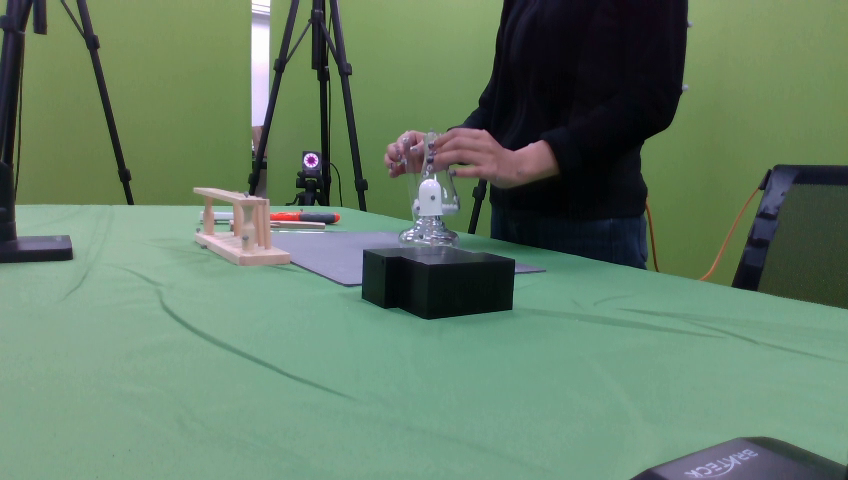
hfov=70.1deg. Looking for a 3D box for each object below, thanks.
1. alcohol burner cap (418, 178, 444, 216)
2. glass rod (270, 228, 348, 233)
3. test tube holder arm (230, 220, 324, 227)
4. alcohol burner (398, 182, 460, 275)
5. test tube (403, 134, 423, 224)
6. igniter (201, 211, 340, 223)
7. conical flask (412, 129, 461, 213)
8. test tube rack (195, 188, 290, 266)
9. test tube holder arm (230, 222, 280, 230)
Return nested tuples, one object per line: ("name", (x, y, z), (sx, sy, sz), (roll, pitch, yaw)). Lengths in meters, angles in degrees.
("alcohol burner cap", (0.007, -0.053, 0.745), (0.034, 0.048, 0.034), (-3, 6, 1))
("glass rod", (-0.234, -0.017, 1.105), (0.201, 0.008, 0.008), (1, 7, -26))
("test tube holder arm", (-0.275, -0.030, 1.144), (0.179, 0.015, 0.013), (-2, 45, -31))
("alcohol burner", (0.007, -0.017, 0.751), (0.078, 0.119, 0.078), (3, 10, 0))
("test tube", (-0.018, -0.100, 1.008), (0.017, 0.150, 0.017), (-7, 11, 2))
("igniter", (-0.311, -0.048, 1.243), (0.278, 0.025, 0.057), (-1, -2, -24))
("conical flask", (0.018, -0.104, 0.916), (0.075, 0.121, 0.075), (-1, -6, 0))
("test tube rack", (-0.266, -0.025, 0.864), (0.067, 0.085, 0.241), (-2, 9, -33))
("test tube holder arm", (-0.312, -0.025, 1.118), (0.088, 0.015, 0.010), (-1, 44, -30))
